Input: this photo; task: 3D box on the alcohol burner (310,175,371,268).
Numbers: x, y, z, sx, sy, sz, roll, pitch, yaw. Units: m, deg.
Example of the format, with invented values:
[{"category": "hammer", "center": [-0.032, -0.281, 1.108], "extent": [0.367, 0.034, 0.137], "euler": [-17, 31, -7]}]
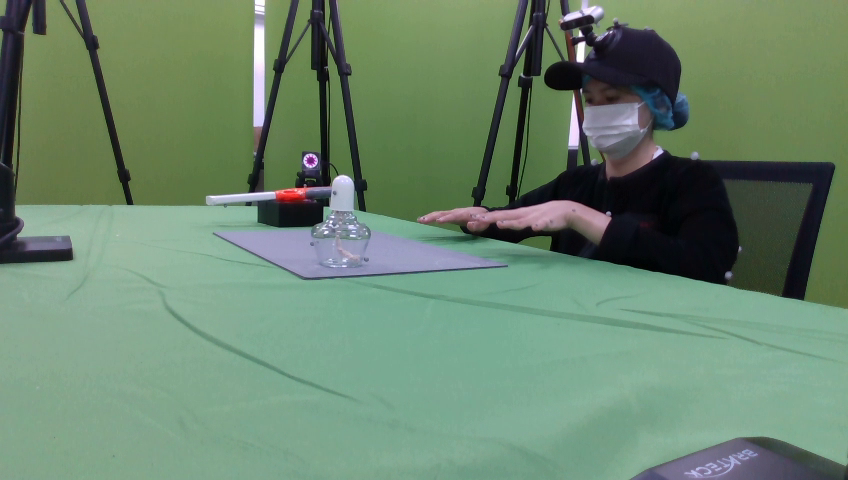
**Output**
[{"category": "alcohol burner", "center": [-0.107, -0.024, 0.778], "extent": [0.078, 0.119, 0.078], "euler": [3, 5, 0]}]

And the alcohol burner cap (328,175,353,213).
[{"category": "alcohol burner cap", "center": [-0.106, -0.059, 0.774], "extent": [0.034, 0.048, 0.034], "euler": [5, 8, 0]}]

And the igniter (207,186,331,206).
[{"category": "igniter", "center": [-0.300, -0.091, 1.241], "extent": [0.278, 0.025, 0.057], "euler": [-8, 11, -34]}]
